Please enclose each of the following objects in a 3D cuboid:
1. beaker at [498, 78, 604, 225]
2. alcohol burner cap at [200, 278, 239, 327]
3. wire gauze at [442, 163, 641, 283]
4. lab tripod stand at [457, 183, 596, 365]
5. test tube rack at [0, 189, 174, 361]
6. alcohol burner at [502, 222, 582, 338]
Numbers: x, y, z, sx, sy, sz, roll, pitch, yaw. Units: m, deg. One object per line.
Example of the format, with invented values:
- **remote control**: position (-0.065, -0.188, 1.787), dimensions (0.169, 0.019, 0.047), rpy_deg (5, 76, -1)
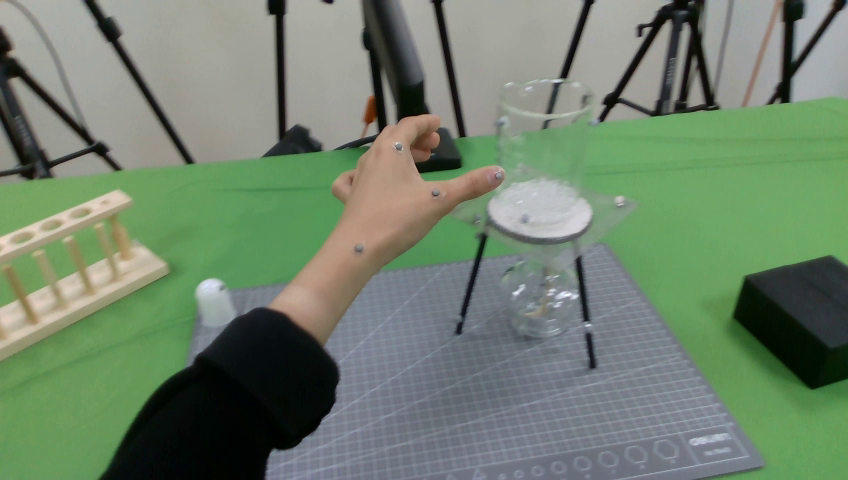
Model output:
- **beaker**: position (0.096, -0.071, 0.486), dimensions (0.074, 0.101, 0.083), rpy_deg (-11, 37, -13)
- **alcohol burner cap**: position (-0.204, 0.058, 0.599), dimensions (0.034, 0.048, 0.033), rpy_deg (-1, 36, 1)
- **wire gauze**: position (0.098, -0.025, 0.506), dimensions (0.124, 0.011, 0.121), rpy_deg (32, 49, 34)
- **lab tripod stand**: position (0.104, 0.028, 0.546), dimensions (0.148, 0.132, 0.147), rpy_deg (0, 35, 0)
- **test tube rack**: position (-0.386, 0.043, 0.599), dimensions (0.066, 0.086, 0.242), rpy_deg (26, 44, 35)
- **alcohol burner**: position (0.111, 0.032, 0.557), dimensions (0.078, 0.120, 0.077), rpy_deg (-1, 37, 1)
